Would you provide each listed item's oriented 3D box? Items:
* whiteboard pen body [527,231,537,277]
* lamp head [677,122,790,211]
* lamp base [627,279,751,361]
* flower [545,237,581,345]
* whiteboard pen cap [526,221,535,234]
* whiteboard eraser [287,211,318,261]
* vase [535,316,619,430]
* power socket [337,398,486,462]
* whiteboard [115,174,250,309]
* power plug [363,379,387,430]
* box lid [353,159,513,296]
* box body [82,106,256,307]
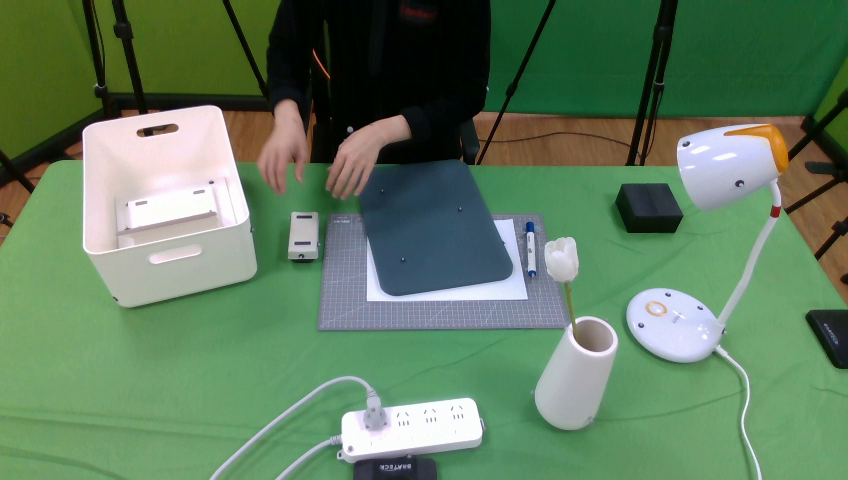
[{"bbox_3d":[0.211,0.018,1.191,0.017,0.017,0.140,6,44,2],"label":"whiteboard pen body"},{"bbox_3d":[0.423,-0.104,0.819,0.122,0.113,0.112,-13,33,39],"label":"lamp head"},{"bbox_3d":[0.460,0.100,1.027,0.178,0.181,0.160,27,51,17],"label":"lamp base"},{"bbox_3d":[0.213,0.137,0.846,0.038,0.364,0.044,22,55,40],"label":"flower"},{"bbox_3d":[0.216,-0.022,1.234,0.018,0.018,0.033,6,44,1],"label":"whiteboard pen cap"},{"bbox_3d":[-0.234,-0.007,1.173,0.055,0.042,0.112,-3,47,-5],"label":"whiteboard eraser"},{"bbox_3d":[0.229,0.200,0.901,0.098,0.201,0.097,3,46,-3],"label":"vase"},{"bbox_3d":[-0.018,0.285,0.914,0.227,0.033,0.071,-4,46,-8],"label":"power socket"},{"bbox_3d":[-0.473,-0.055,1.130,0.217,0.144,0.303,-14,50,-16],"label":"whiteboard"},{"bbox_3d":[-0.071,0.252,0.911,0.035,0.053,0.072,3,40,0],"label":"power plug"},{"bbox_3d":[0.009,-0.039,1.242,0.264,0.015,0.369,-8,47,-12],"label":"box lid"},{"bbox_3d":[-0.471,-0.070,1.131,0.254,0.161,0.361,-14,49,-17],"label":"box body"}]
